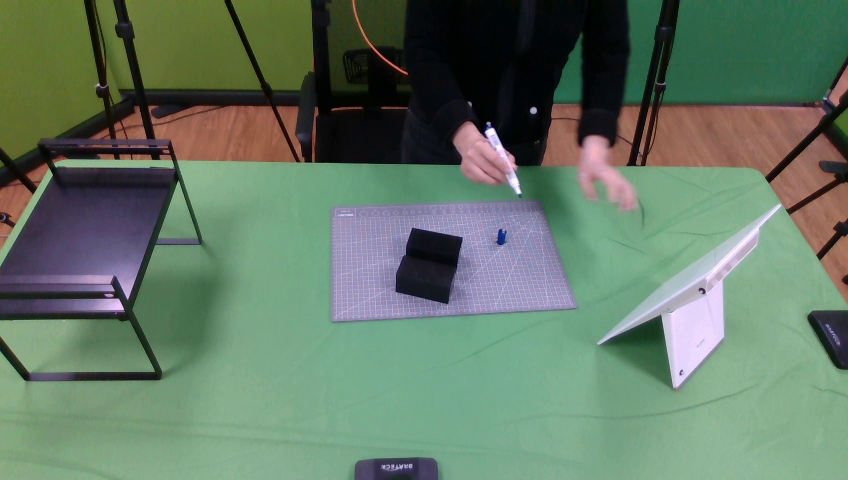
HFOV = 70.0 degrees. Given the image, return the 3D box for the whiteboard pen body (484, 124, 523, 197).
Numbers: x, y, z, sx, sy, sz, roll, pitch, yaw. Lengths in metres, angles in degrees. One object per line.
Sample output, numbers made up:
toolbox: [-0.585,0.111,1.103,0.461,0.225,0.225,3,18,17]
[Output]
whiteboard pen body: [0.141,-0.138,1.063,0.017,0.017,0.140,-23,84,-24]

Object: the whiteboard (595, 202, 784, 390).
whiteboard: [0.459,0.112,0.968,0.217,0.306,0.143,-31,75,-29]

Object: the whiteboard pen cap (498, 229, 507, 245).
whiteboard pen cap: [0.155,-0.006,1.203,0.018,0.033,0.018,0,45,0]
